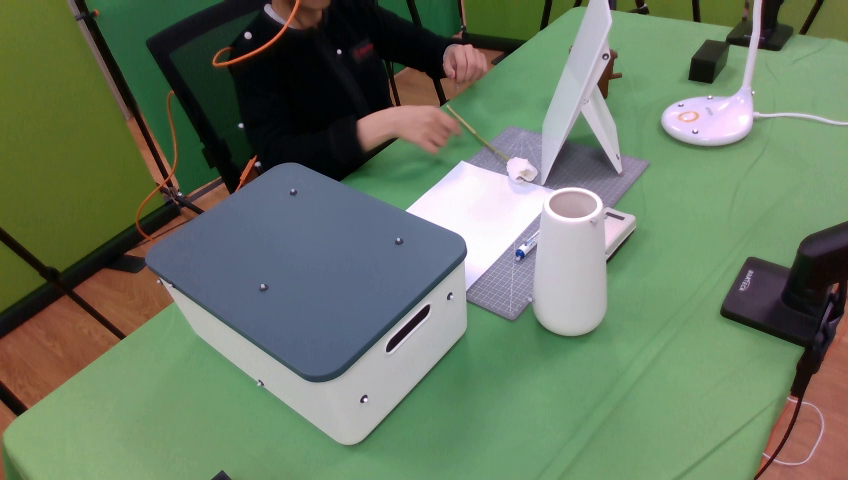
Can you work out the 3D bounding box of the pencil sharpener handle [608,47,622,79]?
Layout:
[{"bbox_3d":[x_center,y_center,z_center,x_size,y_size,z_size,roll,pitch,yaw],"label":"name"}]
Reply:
[{"bbox_3d":[0.395,-0.369,1.254,0.031,0.068,0.036,-10,32,-1],"label":"pencil sharpener handle"}]

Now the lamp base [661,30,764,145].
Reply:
[{"bbox_3d":[0.535,-0.287,1.096,0.179,0.181,0.159,-10,40,-4],"label":"lamp base"}]

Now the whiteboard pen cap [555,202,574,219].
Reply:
[{"bbox_3d":[0.230,-0.048,0.994,0.018,0.018,0.033,26,54,34],"label":"whiteboard pen cap"}]

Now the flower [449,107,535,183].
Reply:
[{"bbox_3d":[0.119,-0.202,1.201,0.044,0.038,0.358,-23,37,-8],"label":"flower"}]

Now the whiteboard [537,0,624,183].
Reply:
[{"bbox_3d":[0.316,-0.256,1.047,0.144,0.306,0.216,15,42,-1],"label":"whiteboard"}]

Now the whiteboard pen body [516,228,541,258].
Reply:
[{"bbox_3d":[0.192,-0.015,0.964,0.017,0.017,0.141,27,51,34],"label":"whiteboard pen body"}]

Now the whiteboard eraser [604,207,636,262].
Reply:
[{"bbox_3d":[0.272,-0.003,0.919,0.055,0.042,0.113,27,51,32],"label":"whiteboard eraser"}]

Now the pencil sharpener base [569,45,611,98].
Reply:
[{"bbox_3d":[0.346,-0.352,1.262,0.077,0.107,0.061,-10,40,-1],"label":"pencil sharpener base"}]

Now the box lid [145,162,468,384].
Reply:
[{"bbox_3d":[-0.157,0.014,0.769,0.368,0.015,0.264,25,51,33],"label":"box lid"}]

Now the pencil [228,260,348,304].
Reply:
[{"bbox_3d":[-0.211,0.066,0.943,0.194,0.012,0.012,-19,41,-9],"label":"pencil"}]

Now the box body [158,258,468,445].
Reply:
[{"bbox_3d":[-0.147,0.072,0.816,0.361,0.161,0.255,24,50,33],"label":"box body"}]

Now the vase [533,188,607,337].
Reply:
[{"bbox_3d":[0.187,0.033,0.771,0.098,0.201,0.097,-6,41,6],"label":"vase"}]
